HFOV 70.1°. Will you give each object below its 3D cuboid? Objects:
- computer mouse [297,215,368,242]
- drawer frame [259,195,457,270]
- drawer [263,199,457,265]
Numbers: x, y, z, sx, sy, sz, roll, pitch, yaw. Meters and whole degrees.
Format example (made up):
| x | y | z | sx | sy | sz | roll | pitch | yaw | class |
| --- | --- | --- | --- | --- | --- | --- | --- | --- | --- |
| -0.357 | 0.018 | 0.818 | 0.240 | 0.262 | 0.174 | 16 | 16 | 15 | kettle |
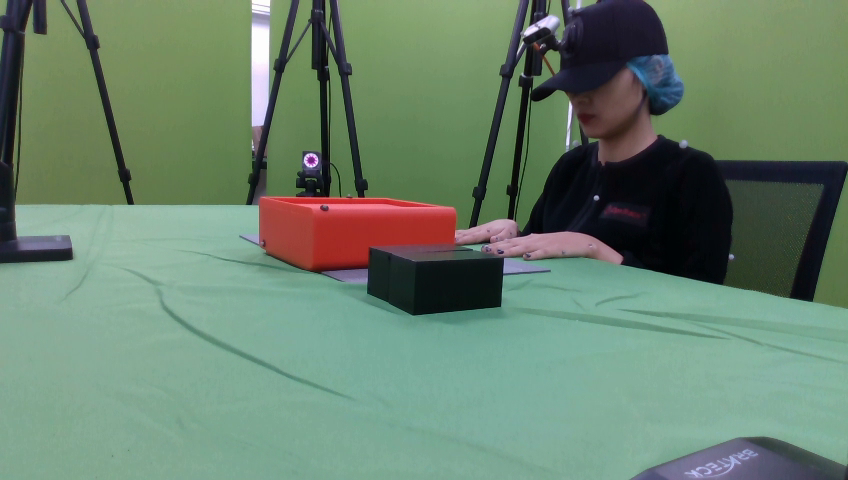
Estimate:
| x | y | z | sx | sy | sz | roll | pitch | yaw | class |
| --- | --- | --- | --- | --- | --- | --- | --- | --- | --- |
| -0.155 | -0.021 | 1.032 | 0.118 | 0.041 | 0.062 | -9 | 15 | -39 | computer mouse |
| -0.095 | -0.018 | 0.845 | 0.215 | 0.082 | 0.200 | -3 | 10 | -34 | drawer frame |
| -0.093 | -0.017 | 0.846 | 0.213 | 0.073 | 0.193 | -3 | 10 | -33 | drawer |
